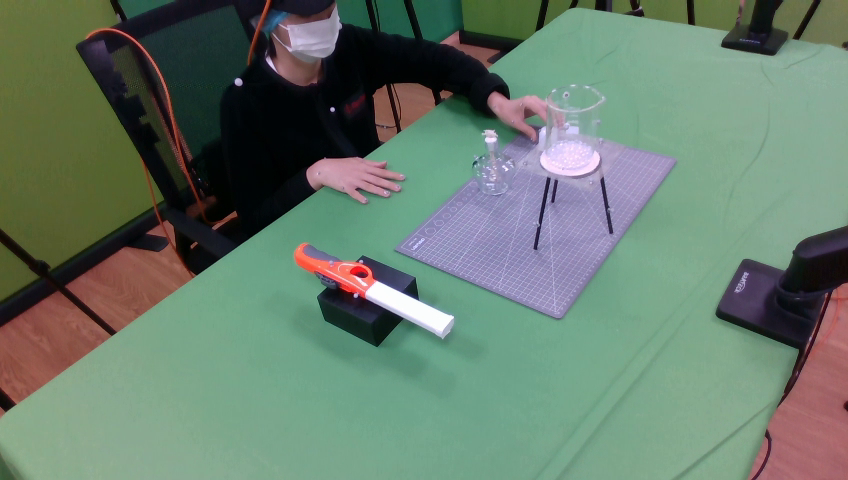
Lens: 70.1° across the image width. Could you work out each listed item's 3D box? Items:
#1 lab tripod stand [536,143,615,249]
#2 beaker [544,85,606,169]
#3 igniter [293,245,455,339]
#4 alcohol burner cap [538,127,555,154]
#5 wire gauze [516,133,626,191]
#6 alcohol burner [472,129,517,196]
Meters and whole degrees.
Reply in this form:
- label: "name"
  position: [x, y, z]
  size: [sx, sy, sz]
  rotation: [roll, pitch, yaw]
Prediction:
- label: "lab tripod stand"
  position: [0.224, -0.069, 0.931]
  size: [0.148, 0.132, 0.147]
  rotation: [-4, 42, 4]
- label: "beaker"
  position: [0.212, -0.158, 0.861]
  size: [0.084, 0.101, 0.073]
  rotation: [-3, 41, 6]
- label: "igniter"
  position: [-0.079, 0.066, 0.834]
  size: [0.274, 0.025, 0.057]
  rotation: [23, 48, 27]
- label: "alcohol burner cap"
  position: [0.234, -0.190, 1.148]
  size: [0.034, 0.048, 0.033]
  rotation: [-4, 39, 4]
- label: "wire gauze"
  position: [0.217, -0.122, 0.893]
  size: [0.124, 0.011, 0.122]
  rotation: [20, 47, 32]
- label: "alcohol burner"
  position: [0.120, -0.136, 1.044]
  size: [0.078, 0.119, 0.077]
  rotation: [-6, 39, 5]
